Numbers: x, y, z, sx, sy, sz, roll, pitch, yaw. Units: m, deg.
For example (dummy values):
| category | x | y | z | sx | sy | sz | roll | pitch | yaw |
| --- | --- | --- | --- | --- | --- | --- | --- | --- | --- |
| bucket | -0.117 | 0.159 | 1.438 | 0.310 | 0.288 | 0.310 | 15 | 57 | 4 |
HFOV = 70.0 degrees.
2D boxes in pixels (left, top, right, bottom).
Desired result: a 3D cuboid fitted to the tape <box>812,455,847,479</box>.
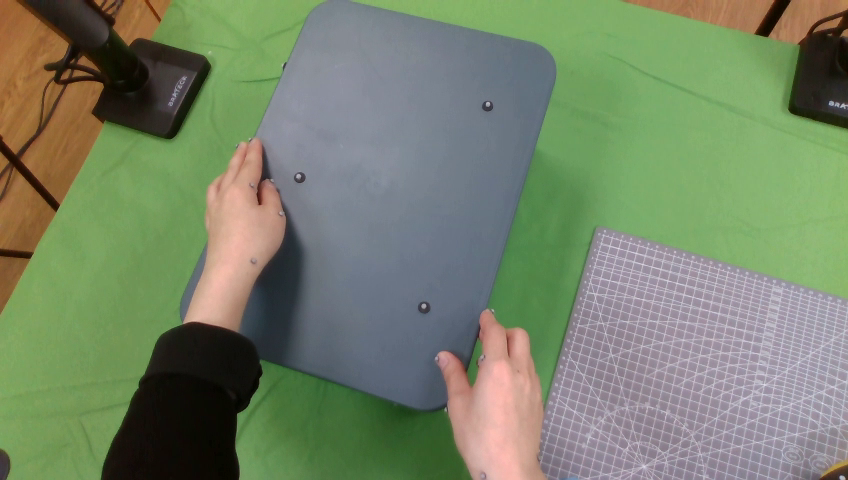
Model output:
| category | x | y | z | sx | sy | sz | roll | pitch | yaw |
| --- | --- | --- | --- | --- | --- | --- | --- | --- | --- |
| tape | 0.437 | 0.261 | 0.573 | 0.117 | 0.053 | 0.116 | -1 | 72 | 4 |

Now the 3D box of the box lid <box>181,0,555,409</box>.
| category | x | y | z | sx | sy | sz | roll | pitch | yaw |
| --- | --- | --- | --- | --- | --- | --- | --- | --- | --- |
| box lid | -0.044 | -0.056 | 0.567 | 0.263 | 0.015 | 0.370 | 16 | 75 | 8 |

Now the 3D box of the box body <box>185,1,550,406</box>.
| category | x | y | z | sx | sy | sz | roll | pitch | yaw |
| --- | --- | --- | --- | --- | --- | --- | --- | --- | --- |
| box body | -0.040 | -0.032 | 0.637 | 0.253 | 0.161 | 0.362 | 16 | 74 | 8 |
